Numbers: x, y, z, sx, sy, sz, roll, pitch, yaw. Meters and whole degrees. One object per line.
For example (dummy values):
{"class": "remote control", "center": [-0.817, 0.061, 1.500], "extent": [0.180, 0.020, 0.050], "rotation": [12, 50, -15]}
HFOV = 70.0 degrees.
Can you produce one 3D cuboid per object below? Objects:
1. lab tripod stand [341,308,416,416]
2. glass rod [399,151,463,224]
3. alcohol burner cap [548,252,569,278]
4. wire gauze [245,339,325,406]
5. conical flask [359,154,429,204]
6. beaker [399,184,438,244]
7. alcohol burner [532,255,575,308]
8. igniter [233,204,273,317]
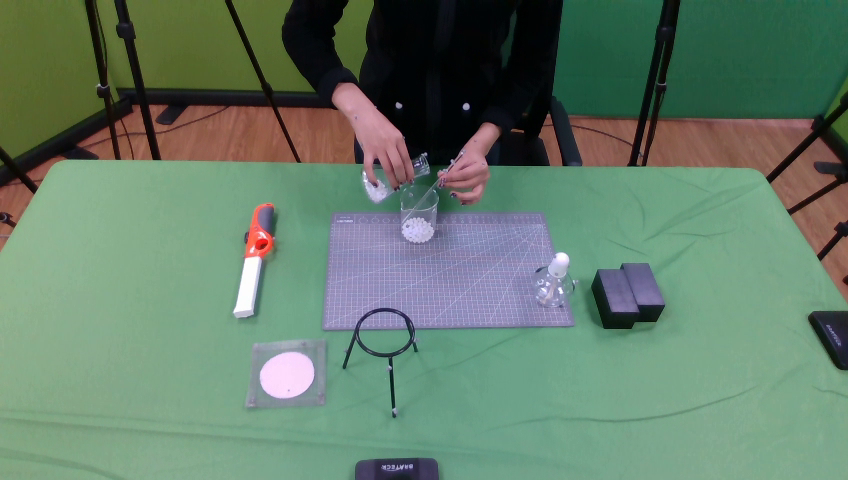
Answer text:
{"class": "lab tripod stand", "center": [-0.061, 0.177, 0.946], "extent": [0.148, 0.132, 0.147], "rotation": [2, 44, -2]}
{"class": "glass rod", "center": [0.011, -0.097, 1.143], "extent": [0.008, 0.200, 0.008], "rotation": [29, 33, -22]}
{"class": "alcohol burner cap", "center": [0.238, 0.042, 1.060], "extent": [0.034, 0.048, 0.033], "rotation": [1, 53, -1]}
{"class": "wire gauze", "center": [-0.224, 0.214, 0.984], "extent": [0.125, 0.011, 0.120], "rotation": [-2, 46, -5]}
{"class": "conical flask", "center": [-0.053, -0.119, 1.118], "extent": [0.122, 0.076, 0.075], "rotation": [-19, 46, 11]}
{"class": "beaker", "center": [-0.014, -0.046, 1.186], "extent": [0.073, 0.101, 0.084], "rotation": [36, 54, 27]}
{"class": "alcohol burner", "center": [0.235, 0.066, 1.087], "extent": [0.078, 0.119, 0.077], "rotation": [4, 45, -3]}
{"class": "igniter", "center": [-0.321, 0.029, 1.142], "extent": [0.057, 0.025, 0.274], "rotation": [-8, 46, 4]}
